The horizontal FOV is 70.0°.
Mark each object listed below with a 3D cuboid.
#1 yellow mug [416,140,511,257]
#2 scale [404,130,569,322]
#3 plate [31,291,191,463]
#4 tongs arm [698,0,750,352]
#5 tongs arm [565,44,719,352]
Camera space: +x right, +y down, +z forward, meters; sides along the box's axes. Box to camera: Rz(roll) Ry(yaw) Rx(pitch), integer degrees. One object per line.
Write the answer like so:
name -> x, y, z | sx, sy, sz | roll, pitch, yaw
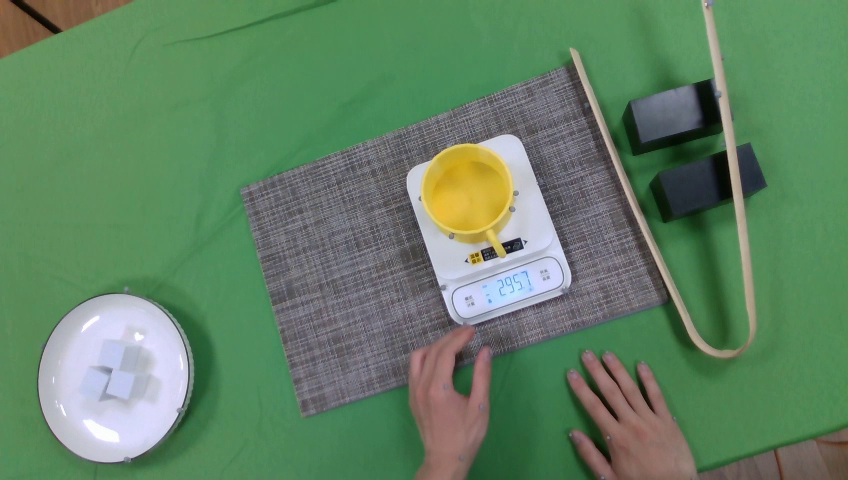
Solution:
yellow mug -> 0.053, -0.040, 0.665 | 0.100, 0.064, 0.130 | -29, 80, 4
scale -> 0.070, -0.017, 0.708 | 0.148, 0.032, 0.200 | -20, 81, 7
plate -> -0.384, 0.169, 0.757 | 0.207, 0.039, 0.207 | -1, 83, 8
tongs arm -> 0.302, -0.075, 0.640 | 0.050, 0.026, 0.384 | -11, 87, 35
tongs arm -> 0.239, -0.055, 0.688 | 0.028, 0.028, 0.385 | -26, 78, 29
